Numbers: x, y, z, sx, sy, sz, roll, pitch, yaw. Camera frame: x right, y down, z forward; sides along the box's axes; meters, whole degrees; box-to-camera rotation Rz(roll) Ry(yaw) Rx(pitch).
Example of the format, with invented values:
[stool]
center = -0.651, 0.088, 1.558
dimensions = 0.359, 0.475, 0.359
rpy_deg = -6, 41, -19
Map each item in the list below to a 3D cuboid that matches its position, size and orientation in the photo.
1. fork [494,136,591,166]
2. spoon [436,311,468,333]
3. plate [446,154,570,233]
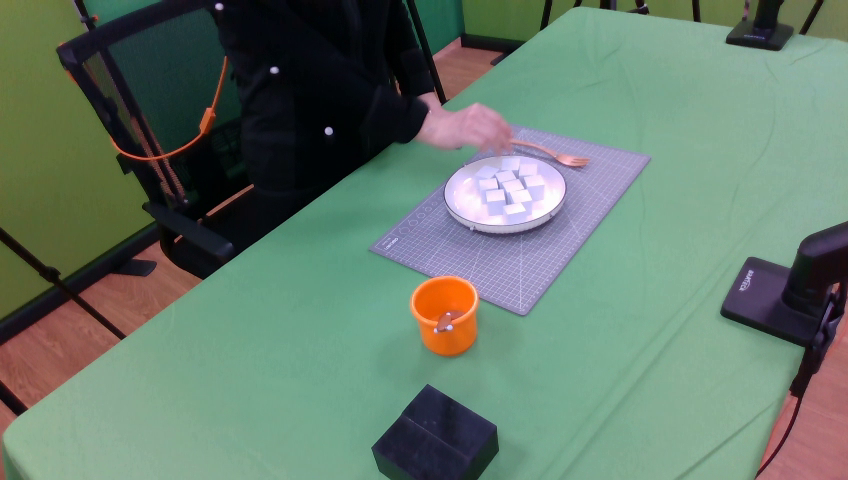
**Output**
[fork]
center = 0.219, -0.171, 1.144
dimensions = 0.205, 0.019, 0.028
rpy_deg = 24, 55, 31
[spoon]
center = 0.030, 0.102, 0.761
dimensions = 0.041, 0.194, 0.021
rpy_deg = 2, 85, 8
[plate]
center = 0.142, -0.076, 1.033
dimensions = 0.207, 0.039, 0.206
rpy_deg = -6, 40, 5
